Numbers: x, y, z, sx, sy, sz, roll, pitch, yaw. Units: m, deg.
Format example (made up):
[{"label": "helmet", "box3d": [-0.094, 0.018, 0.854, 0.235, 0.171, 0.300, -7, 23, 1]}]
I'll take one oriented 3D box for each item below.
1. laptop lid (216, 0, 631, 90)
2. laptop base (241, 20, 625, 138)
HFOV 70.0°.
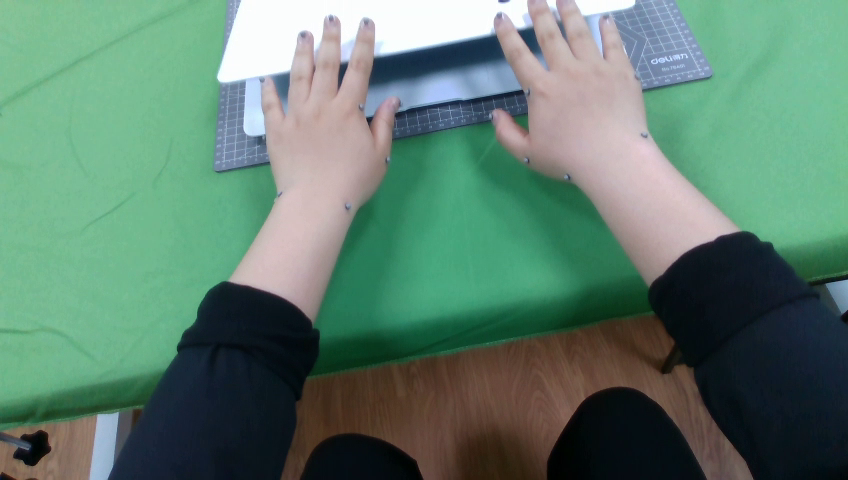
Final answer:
[{"label": "laptop lid", "box3d": [-0.012, -0.238, 0.574, 0.356, 0.013, 0.239, -8, 47, 4]}, {"label": "laptop base", "box3d": [-0.006, -0.216, 0.604, 0.354, 0.023, 0.233, -10, 61, 3]}]
